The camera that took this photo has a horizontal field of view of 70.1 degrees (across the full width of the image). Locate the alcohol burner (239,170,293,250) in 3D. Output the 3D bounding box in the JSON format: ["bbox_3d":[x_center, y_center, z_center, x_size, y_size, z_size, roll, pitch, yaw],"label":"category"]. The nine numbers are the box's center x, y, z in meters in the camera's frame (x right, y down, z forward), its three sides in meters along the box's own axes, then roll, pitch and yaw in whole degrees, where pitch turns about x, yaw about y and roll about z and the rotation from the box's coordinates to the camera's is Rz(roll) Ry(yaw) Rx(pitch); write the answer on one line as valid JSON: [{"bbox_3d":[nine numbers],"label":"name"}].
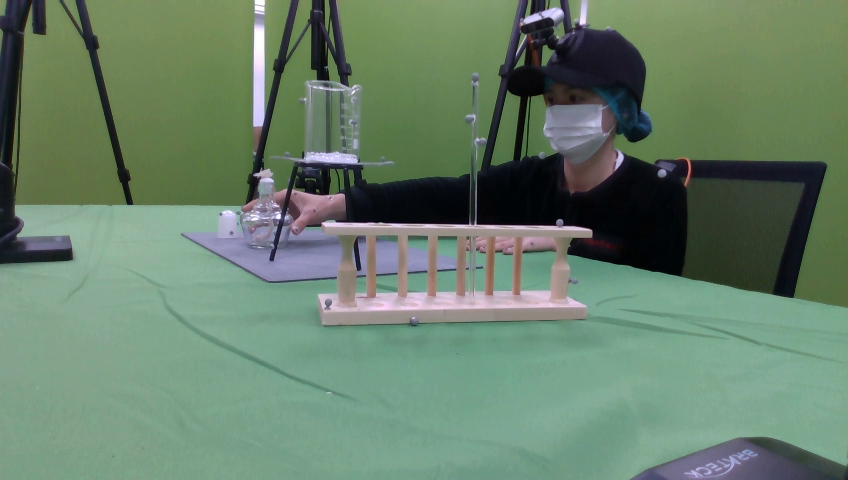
[{"bbox_3d":[-0.237,-0.045,0.905,0.078,0.119,0.078,1,8,0],"label":"alcohol burner"}]

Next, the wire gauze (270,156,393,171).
[{"bbox_3d":[-0.122,-0.100,0.786,0.122,0.011,0.124,-5,14,-38],"label":"wire gauze"}]

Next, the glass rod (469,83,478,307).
[{"bbox_3d":[0.043,-0.033,0.523,0.008,0.199,0.008,-1,14,1],"label":"glass rod"}]

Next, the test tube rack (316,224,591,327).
[{"bbox_3d":[0.026,0.028,0.555,0.243,0.085,0.066,1,7,-14],"label":"test tube rack"}]

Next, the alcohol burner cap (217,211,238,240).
[{"bbox_3d":[-0.323,-0.024,0.994,0.034,0.048,0.034,3,8,0],"label":"alcohol burner cap"}]

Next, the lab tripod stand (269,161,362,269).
[{"bbox_3d":[-0.125,-0.036,0.794,0.148,0.131,0.148,5,7,0],"label":"lab tripod stand"}]

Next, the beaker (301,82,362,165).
[{"bbox_3d":[-0.117,-0.147,0.776,0.074,0.100,0.083,-3,10,-38],"label":"beaker"}]
